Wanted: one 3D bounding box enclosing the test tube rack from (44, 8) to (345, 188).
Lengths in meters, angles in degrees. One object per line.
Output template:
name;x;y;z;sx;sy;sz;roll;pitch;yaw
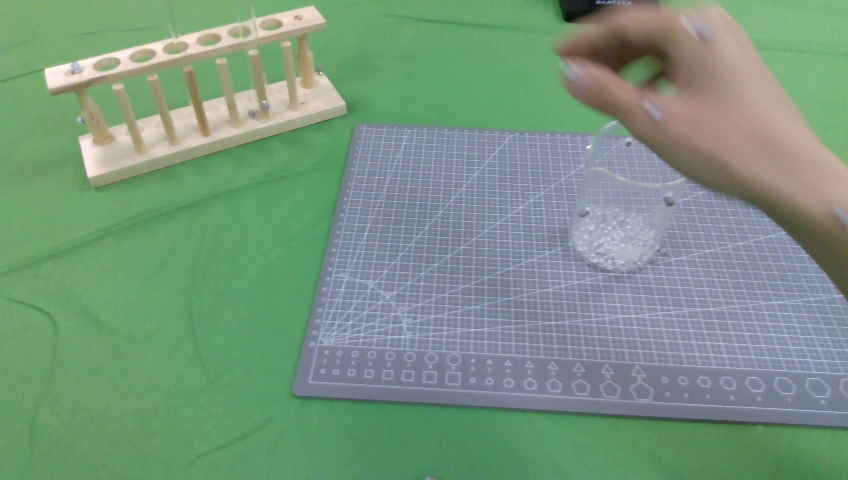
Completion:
test tube rack;-0.202;-0.136;0.565;0.243;0.086;0.066;-21;52;-19

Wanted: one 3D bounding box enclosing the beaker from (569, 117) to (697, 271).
beaker;0.151;-0.030;0.464;0.084;0.101;0.073;-10;49;-9

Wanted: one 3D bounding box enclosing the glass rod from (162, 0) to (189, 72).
glass rod;-0.213;-0.180;0.514;0.008;0.201;0.008;3;51;-3

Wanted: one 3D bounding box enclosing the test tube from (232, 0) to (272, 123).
test tube;-0.153;-0.170;0.535;0.017;0.151;0.017;1;46;-1
